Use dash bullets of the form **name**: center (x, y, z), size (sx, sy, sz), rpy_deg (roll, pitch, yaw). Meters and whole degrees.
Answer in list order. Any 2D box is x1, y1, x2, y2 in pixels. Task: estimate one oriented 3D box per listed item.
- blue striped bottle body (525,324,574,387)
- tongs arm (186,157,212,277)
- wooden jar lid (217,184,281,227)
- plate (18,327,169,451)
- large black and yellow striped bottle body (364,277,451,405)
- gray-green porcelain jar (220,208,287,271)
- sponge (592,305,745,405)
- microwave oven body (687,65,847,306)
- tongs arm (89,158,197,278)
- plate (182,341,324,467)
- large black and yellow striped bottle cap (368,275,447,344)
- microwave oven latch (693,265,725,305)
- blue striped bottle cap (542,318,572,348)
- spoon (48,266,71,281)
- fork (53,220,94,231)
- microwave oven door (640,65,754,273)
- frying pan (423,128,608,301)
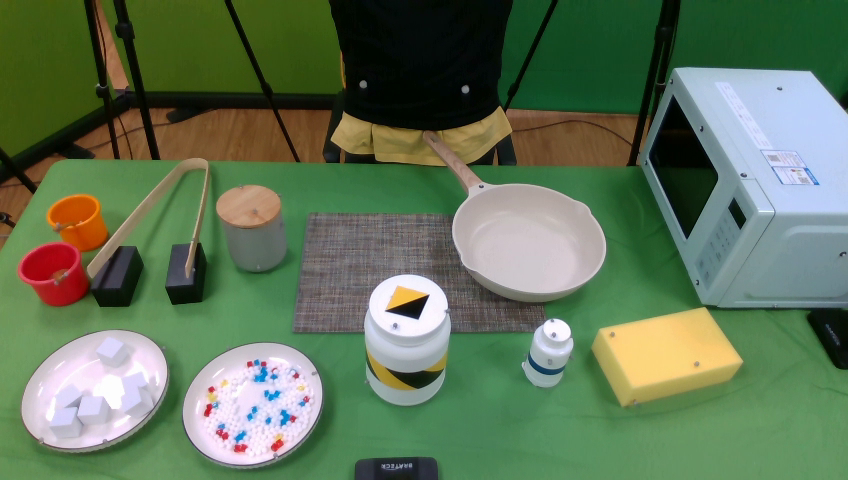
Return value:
- **blue striped bottle body**: center (0.202, 0.179, 0.970), size (0.063, 0.121, 0.062), rpy_deg (2, 46, -2)
- **tongs arm**: center (-0.445, -0.058, 1.168), size (0.051, 0.026, 0.382), rpy_deg (-5, 37, -6)
- **wooden jar lid**: center (-0.307, -0.057, 1.067), size (0.108, 0.021, 0.107), rpy_deg (5, 44, -4)
- **plate**: center (-0.498, 0.229, 0.929), size (0.208, 0.039, 0.206), rpy_deg (2, 47, -2)
- **large black and yellow striped bottle body**: center (-0.026, 0.155, 0.933), size (0.131, 0.185, 0.130), rpy_deg (2, 47, -2)
- **gray-green porcelain jar**: center (-0.309, -0.014, 1.113), size (0.106, 0.127, 0.105), rpy_deg (2, 47, -1)
- **sponge**: center (0.405, 0.190, 1.014), size (0.207, 0.061, 0.117), rpy_deg (-10, 48, -13)
- **microwave oven body**: center (0.669, -0.111, 1.176), size (0.326, 0.261, 0.439), rpy_deg (0, 46, -3)
- **tongs arm**: center (-0.530, -0.057, 1.163), size (0.028, 0.028, 0.385), rpy_deg (1, 36, 8)
- **plate**: center (-0.257, 0.250, 0.927), size (0.209, 0.038, 0.208), rpy_deg (3, 46, -2)
- **large black and yellow striped bottle cap**: center (-0.024, 0.098, 0.871), size (0.115, 0.019, 0.114), rpy_deg (2, 45, -2)
- **microwave oven latch**: center (0.523, 0.082, 1.116), size (0.030, 0.029, 0.078), rpy_deg (2, 46, -1)
- **blue striped bottle cap**: center (0.205, 0.143, 0.933), size (0.044, 0.021, 0.044), rpy_deg (0, 47, 0)
- **spoon**: center (-0.609, 0.057, 1.010), size (0.041, 0.022, 0.193), rpy_deg (-33, 14, -27)
- **fork**: center (-0.627, -0.027, 1.086), size (0.028, 0.018, 0.207), rpy_deg (0, 2, -15)
- **microwave oven door**: center (0.523, -0.147, 1.193), size (0.039, 0.245, 0.353), rpy_deg (0, 47, -3)
- **frying pan**: center (0.142, -0.069, 1.208), size (0.307, 0.103, 0.485), rpy_deg (-23, 60, -25)
